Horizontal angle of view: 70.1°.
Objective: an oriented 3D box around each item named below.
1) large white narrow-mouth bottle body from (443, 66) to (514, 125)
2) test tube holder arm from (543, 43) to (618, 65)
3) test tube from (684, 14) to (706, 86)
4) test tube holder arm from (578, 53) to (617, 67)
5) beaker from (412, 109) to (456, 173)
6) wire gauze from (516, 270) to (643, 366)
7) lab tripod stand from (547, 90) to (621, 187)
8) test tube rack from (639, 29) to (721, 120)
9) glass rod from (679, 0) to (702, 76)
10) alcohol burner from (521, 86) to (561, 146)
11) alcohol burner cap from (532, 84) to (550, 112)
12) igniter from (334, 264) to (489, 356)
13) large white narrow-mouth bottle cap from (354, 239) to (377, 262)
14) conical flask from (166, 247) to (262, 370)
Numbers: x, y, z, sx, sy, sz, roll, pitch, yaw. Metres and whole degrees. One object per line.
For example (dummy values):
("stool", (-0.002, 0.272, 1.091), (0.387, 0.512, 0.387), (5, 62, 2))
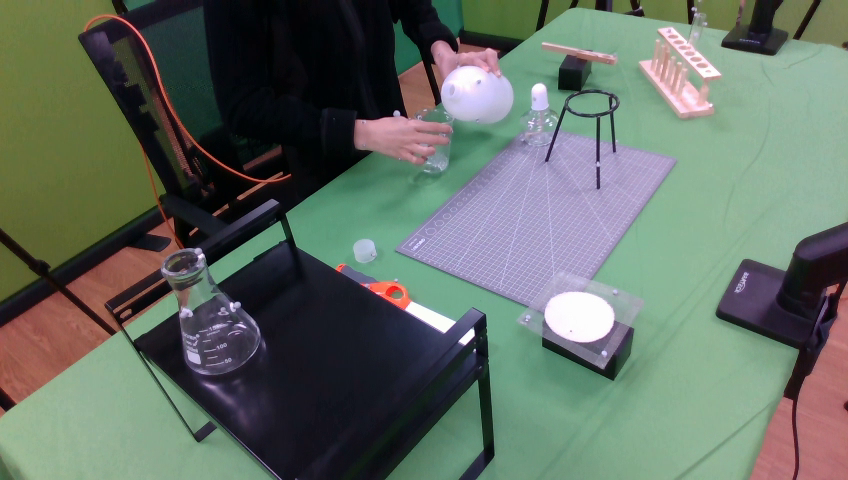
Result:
("large white narrow-mouth bottle body", (0.093, -0.274, 1.141), (0.101, 0.102, 0.196), (17, 13, 27))
("test tube holder arm", (0.344, -0.413, 1.340), (0.177, 0.015, 0.013), (25, 51, 31))
("test tube", (0.540, -0.378, 1.215), (0.017, 0.151, 0.017), (-2, 44, 3))
("test tube holder arm", (0.376, -0.393, 1.314), (0.087, 0.015, 0.010), (26, 51, 32))
("beaker", (0.019, -0.181, 1.107), (0.084, 0.100, 0.073), (-19, 40, -35))
("wire gauze", (0.200, 0.093, 0.777), (0.124, 0.011, 0.122), (23, 49, 32))
("lab tripod stand", (0.288, -0.184, 1.062), (0.148, 0.132, 0.147), (-6, 41, 6))
("test tube rack", (0.527, -0.351, 1.262), (0.067, 0.085, 0.241), (-8, 40, 1))
("glass rod", (0.543, -0.417, 1.233), (0.008, 0.200, 0.008), (1, 40, 0))
("alcohol burner", (0.223, -0.241, 1.155), (0.078, 0.119, 0.077), (-5, 43, 5))
("alcohol burner cap", (0.218, -0.269, 1.133), (0.034, 0.048, 0.033), (-9, 36, 7))
("igniter", (-0.030, 0.095, 0.871), (0.274, 0.025, 0.057), (22, 59, 31))
("large white narrow-mouth bottle cap", (-0.095, 0.017, 0.981), (0.038, 0.024, 0.037), (-4, 40, 4))
("conical flask", (-0.209, 0.064, 0.584), (0.075, 0.122, 0.075), (-5, 41, 4))
